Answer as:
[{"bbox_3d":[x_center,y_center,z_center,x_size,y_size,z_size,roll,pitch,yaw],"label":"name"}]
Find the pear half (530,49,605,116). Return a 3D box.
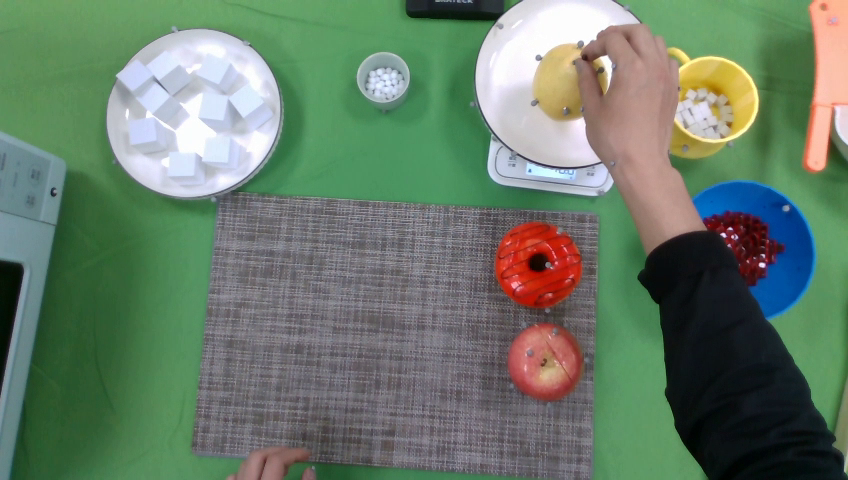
[{"bbox_3d":[0.146,-0.160,0.616,0.076,0.110,0.056,9,85,6],"label":"pear half"}]

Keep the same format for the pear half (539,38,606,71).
[{"bbox_3d":[0.155,-0.193,0.628,0.070,0.088,0.031,9,86,5],"label":"pear half"}]

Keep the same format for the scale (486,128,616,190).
[{"bbox_3d":[0.157,-0.165,0.714,0.148,0.031,0.200,8,84,3],"label":"scale"}]

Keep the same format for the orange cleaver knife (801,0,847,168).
[{"bbox_3d":[0.446,-0.179,0.652,0.077,0.012,0.211,8,84,5],"label":"orange cleaver knife"}]

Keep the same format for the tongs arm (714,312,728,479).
[{"bbox_3d":[0.341,0.269,0.656,0.051,0.026,0.384,4,85,-3],"label":"tongs arm"}]

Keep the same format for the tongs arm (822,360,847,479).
[{"bbox_3d":[0.427,0.282,0.657,0.028,0.028,0.386,19,85,-4],"label":"tongs arm"}]

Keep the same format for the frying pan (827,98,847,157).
[{"bbox_3d":[0.624,-0.086,0.654,0.307,0.103,0.485,-23,75,0],"label":"frying pan"}]

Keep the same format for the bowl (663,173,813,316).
[{"bbox_3d":[0.329,0.008,0.665,0.151,0.077,0.151,0,84,2],"label":"bowl"}]

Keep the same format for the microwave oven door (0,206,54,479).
[{"bbox_3d":[-0.470,0.132,0.572,0.039,0.244,0.355,6,83,3],"label":"microwave oven door"}]

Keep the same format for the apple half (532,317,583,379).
[{"bbox_3d":[0.150,0.110,0.655,0.033,0.081,0.081,-34,83,1],"label":"apple half"}]

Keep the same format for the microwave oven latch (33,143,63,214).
[{"bbox_3d":[-0.440,-0.071,0.697,0.030,0.029,0.079,8,84,2],"label":"microwave oven latch"}]

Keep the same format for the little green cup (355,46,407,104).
[{"bbox_3d":[-0.049,-0.193,0.719,0.061,0.039,0.061,0,83,2],"label":"little green cup"}]

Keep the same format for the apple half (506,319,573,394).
[{"bbox_3d":[0.117,0.132,0.654,0.053,0.075,0.080,-32,85,1],"label":"apple half"}]

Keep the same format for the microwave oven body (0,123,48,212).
[{"bbox_3d":[-0.611,0.075,0.588,0.326,0.261,0.440,6,84,2],"label":"microwave oven body"}]

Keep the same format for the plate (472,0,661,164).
[{"bbox_3d":[0.157,-0.184,0.682,0.209,0.038,0.208,0,83,1],"label":"plate"}]

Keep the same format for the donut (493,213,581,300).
[{"bbox_3d":[0.126,0.019,0.683,0.099,0.048,0.099,0,84,4],"label":"donut"}]

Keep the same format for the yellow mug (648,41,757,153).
[{"bbox_3d":[0.306,-0.170,0.692,0.100,0.064,0.130,-29,82,-1],"label":"yellow mug"}]

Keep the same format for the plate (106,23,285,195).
[{"bbox_3d":[-0.267,-0.153,0.721,0.207,0.039,0.207,0,83,2],"label":"plate"}]
